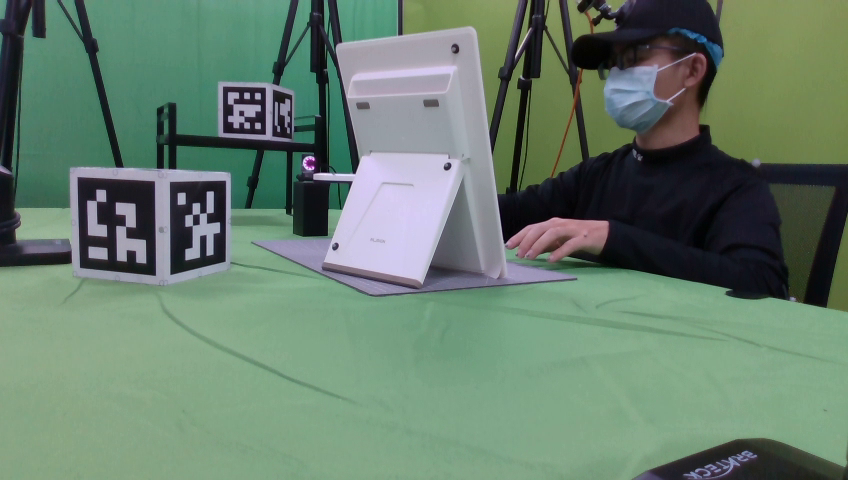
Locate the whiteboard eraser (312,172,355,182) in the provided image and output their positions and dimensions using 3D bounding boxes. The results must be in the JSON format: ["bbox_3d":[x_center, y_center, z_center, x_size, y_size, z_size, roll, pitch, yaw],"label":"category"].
[{"bbox_3d":[-0.165,-0.121,1.155,0.102,0.019,0.041,-2,7,-34],"label":"whiteboard eraser"}]

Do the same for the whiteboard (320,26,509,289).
[{"bbox_3d":[-0.046,-0.076,0.721,0.216,0.305,0.144,9,29,39],"label":"whiteboard"}]
